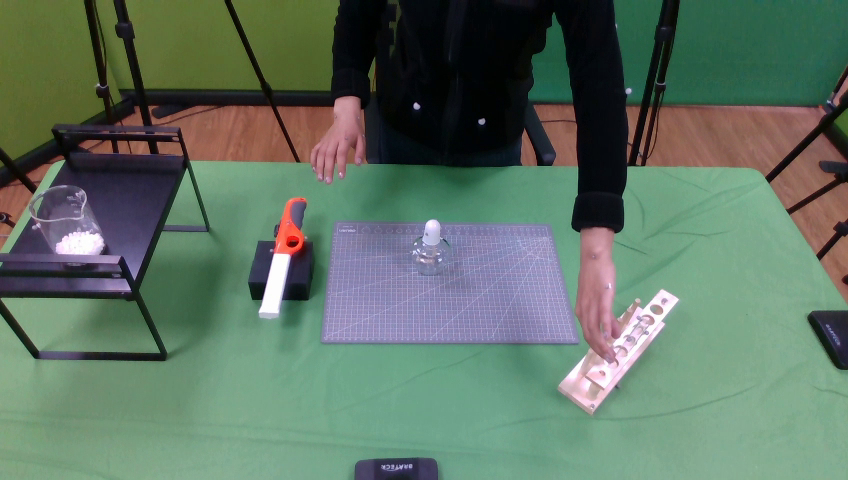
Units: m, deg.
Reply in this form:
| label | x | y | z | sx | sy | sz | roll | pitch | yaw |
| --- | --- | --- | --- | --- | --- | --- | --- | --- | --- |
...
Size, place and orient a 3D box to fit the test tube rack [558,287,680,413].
| label | x | y | z | sx | sy | sz | roll | pitch | yaw |
| --- | --- | --- | --- | --- | --- | --- | --- | --- | --- |
| test tube rack | 0.326 | 0.170 | 1.009 | 0.066 | 0.085 | 0.242 | 36 | 54 | 26 |

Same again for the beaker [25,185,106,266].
| label | x | y | z | sx | sy | sz | roll | pitch | yaw |
| --- | --- | --- | --- | --- | --- | --- | --- | --- | --- |
| beaker | -0.507 | -0.017 | 0.871 | 0.084 | 0.101 | 0.074 | 23 | 49 | 17 |

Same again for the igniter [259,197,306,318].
| label | x | y | z | sx | sy | sz | roll | pitch | yaw |
| --- | --- | --- | --- | --- | --- | --- | --- | --- | --- |
| igniter | -0.252 | 0.021 | 1.088 | 0.057 | 0.025 | 0.275 | 4 | 48 | -3 |

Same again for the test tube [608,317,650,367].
| label | x | y | z | sx | sy | sz | roll | pitch | yaw |
| --- | --- | --- | --- | --- | --- | --- | --- | --- | --- |
| test tube | 0.314 | 0.168 | 0.942 | 0.017 | 0.151 | 0.017 | 5 | 48 | -6 |

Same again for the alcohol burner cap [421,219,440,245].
| label | x | y | z | sx | sy | sz | roll | pitch | yaw |
| --- | --- | --- | --- | --- | --- | --- | --- | --- | --- |
| alcohol burner cap | 0.014 | -0.018 | 1.094 | 0.034 | 0.048 | 0.033 | 5 | 43 | -4 |

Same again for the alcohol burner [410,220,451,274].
| label | x | y | z | sx | sy | sz | roll | pitch | yaw |
| --- | --- | --- | --- | --- | --- | --- | --- | --- | --- |
| alcohol burner | 0.013 | 0.008 | 1.120 | 0.078 | 0.120 | 0.077 | 1 | 48 | -1 |
